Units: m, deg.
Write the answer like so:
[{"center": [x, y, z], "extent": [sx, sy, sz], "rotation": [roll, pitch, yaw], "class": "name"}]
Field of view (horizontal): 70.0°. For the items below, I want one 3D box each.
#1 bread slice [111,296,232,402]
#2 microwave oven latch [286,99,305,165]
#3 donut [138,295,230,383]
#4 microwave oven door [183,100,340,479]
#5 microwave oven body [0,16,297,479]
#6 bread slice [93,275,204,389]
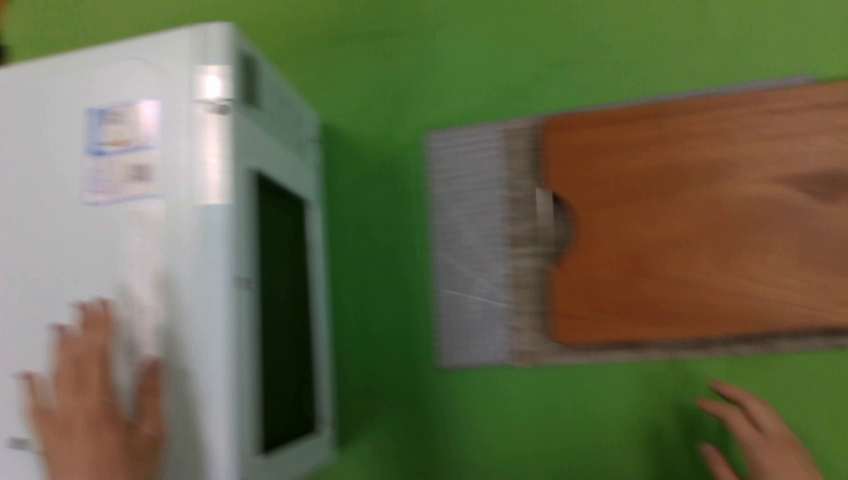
[{"center": [-0.294, 0.121, 0.695], "extent": [0.131, 0.019, 0.104], "rotation": [11, 87, 7], "class": "bread slice"}, {"center": [-0.167, -0.132, 0.750], "extent": [0.030, 0.029, 0.079], "rotation": [-9, 82, 8], "class": "microwave oven latch"}, {"center": [-0.265, 0.109, 0.668], "extent": [0.099, 0.048, 0.099], "rotation": [0, 96, -2], "class": "donut"}, {"center": [-0.158, 0.067, 0.619], "extent": [0.039, 0.245, 0.354], "rotation": [-9, 81, 9], "class": "microwave oven door"}, {"center": [-0.306, 0.050, 0.651], "extent": [0.326, 0.261, 0.440], "rotation": [-9, 82, 8], "class": "microwave oven body"}, {"center": [-0.287, 0.104, 0.626], "extent": [0.134, 0.018, 0.106], "rotation": [-16, 81, 20], "class": "bread slice"}]
